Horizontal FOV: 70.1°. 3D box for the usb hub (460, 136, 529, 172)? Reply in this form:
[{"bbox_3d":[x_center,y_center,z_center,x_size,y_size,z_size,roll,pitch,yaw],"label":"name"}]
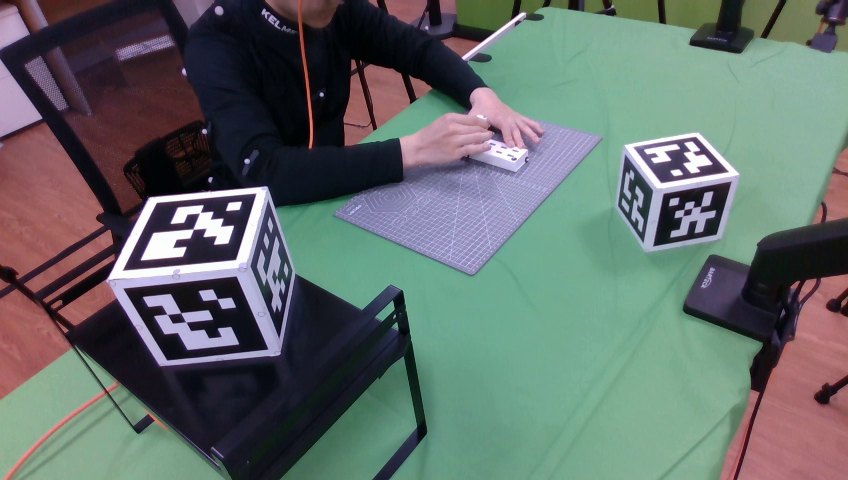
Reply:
[{"bbox_3d":[0.132,-0.163,1.137,0.124,0.025,0.049,20,47,30],"label":"usb hub"}]

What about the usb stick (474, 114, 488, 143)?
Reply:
[{"bbox_3d":[0.107,-0.211,1.123,0.021,0.059,0.027,7,45,-1],"label":"usb stick"}]
